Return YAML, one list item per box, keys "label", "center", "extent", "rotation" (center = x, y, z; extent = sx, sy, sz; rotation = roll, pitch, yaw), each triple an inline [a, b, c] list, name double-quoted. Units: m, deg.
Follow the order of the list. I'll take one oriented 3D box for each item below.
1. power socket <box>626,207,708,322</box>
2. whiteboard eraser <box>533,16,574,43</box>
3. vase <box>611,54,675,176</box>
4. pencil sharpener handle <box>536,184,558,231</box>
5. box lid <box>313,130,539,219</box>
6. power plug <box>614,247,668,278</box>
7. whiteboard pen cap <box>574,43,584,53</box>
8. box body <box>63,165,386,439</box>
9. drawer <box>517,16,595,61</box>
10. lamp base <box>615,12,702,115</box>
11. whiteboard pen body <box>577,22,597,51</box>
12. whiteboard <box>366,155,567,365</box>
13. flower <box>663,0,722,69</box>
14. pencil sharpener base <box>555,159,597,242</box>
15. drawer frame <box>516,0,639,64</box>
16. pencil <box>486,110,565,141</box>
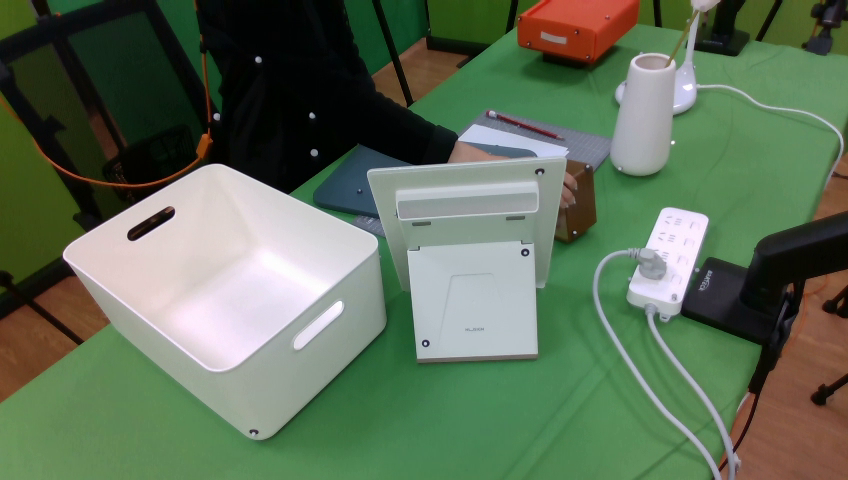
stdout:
- label: "power socket"
  center: [0.359, 0.026, 0.886]
  extent: [0.072, 0.033, 0.227]
  rotation: [16, 46, 26]
- label: "whiteboard eraser"
  center: [0.305, -0.493, 1.423]
  extent: [0.055, 0.042, 0.113]
  rotation: [26, 43, 25]
- label: "vase"
  center: [0.377, -0.209, 1.031]
  extent: [0.098, 0.201, 0.097]
  rotation: [-3, 40, 3]
- label: "pencil sharpener handle"
  center: [0.180, -0.048, 0.909]
  extent: [0.031, 0.068, 0.035]
  rotation: [-32, 36, -28]
- label: "box lid"
  center: [0.007, -0.113, 1.114]
  extent: [0.369, 0.015, 0.263]
  rotation: [11, 44, 21]
- label: "power plug"
  center: [0.306, 0.031, 0.851]
  extent: [0.072, 0.053, 0.035]
  rotation: [24, 49, 33]
- label: "whiteboard pen cap"
  center: [0.346, -0.430, 1.350]
  extent: [0.018, 0.018, 0.033]
  rotation: [15, 37, 24]
- label: "box body"
  center: [-0.257, 0.068, 0.824]
  extent: [0.361, 0.161, 0.255]
  rotation: [24, 49, 31]
- label: "drawer"
  center: [0.353, -0.505, 1.404]
  extent: [0.193, 0.073, 0.212]
  rotation: [25, 50, 33]
- label: "lamp base"
  center: [0.484, -0.363, 1.211]
  extent: [0.180, 0.181, 0.159]
  rotation: [-15, 41, -14]
- label: "whiteboard pen body"
  center: [0.372, -0.468, 1.390]
  extent: [0.017, 0.017, 0.141]
  rotation: [14, 47, 23]
- label: "whiteboard"
  center: [0.059, 0.050, 0.738]
  extent: [0.217, 0.307, 0.143]
  rotation: [-3, 60, 5]
- label: "flower"
  center: [0.379, -0.261, 0.965]
  extent: [0.044, 0.362, 0.038]
  rotation: [21, 53, 5]
- label: "pencil sharpener base"
  center: [0.221, -0.061, 0.940]
  extent: [0.077, 0.107, 0.061]
  rotation: [-32, 36, -28]
- label: "drawer frame"
  center: [0.356, -0.507, 1.410]
  extent: [0.200, 0.083, 0.214]
  rotation: [25, 51, 32]
- label: "pencil"
  center: [0.204, -0.232, 1.226]
  extent: [0.192, 0.012, 0.012]
  rotation: [29, 52, 33]
